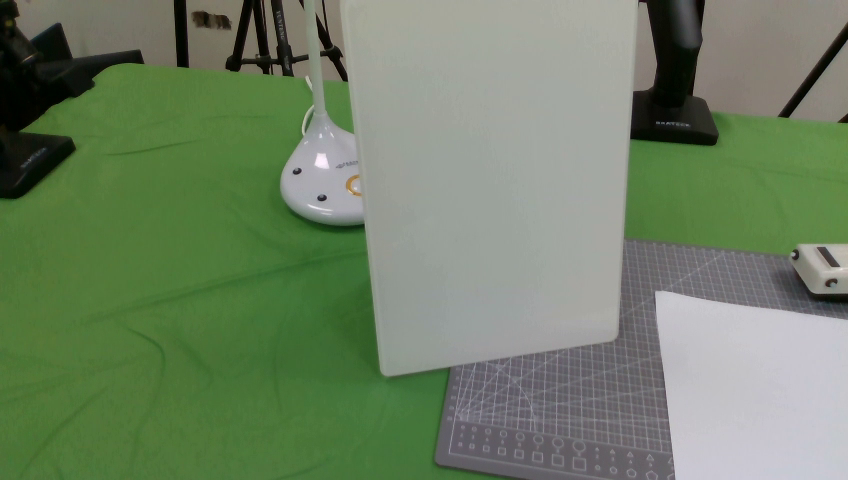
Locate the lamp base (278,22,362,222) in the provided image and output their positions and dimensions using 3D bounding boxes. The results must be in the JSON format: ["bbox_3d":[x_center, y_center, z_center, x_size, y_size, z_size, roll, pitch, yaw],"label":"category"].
[{"bbox_3d":[-0.099,-0.138,0.678,0.161,0.182,0.177,-27,45,-28],"label":"lamp base"}]

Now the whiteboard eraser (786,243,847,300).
[{"bbox_3d":[0.422,0.031,0.592,0.113,0.042,0.055,1,41,0],"label":"whiteboard eraser"}]

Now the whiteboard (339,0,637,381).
[{"bbox_3d":[0.048,-0.059,0.536,0.217,0.307,0.142,-7,22,-8],"label":"whiteboard"}]
